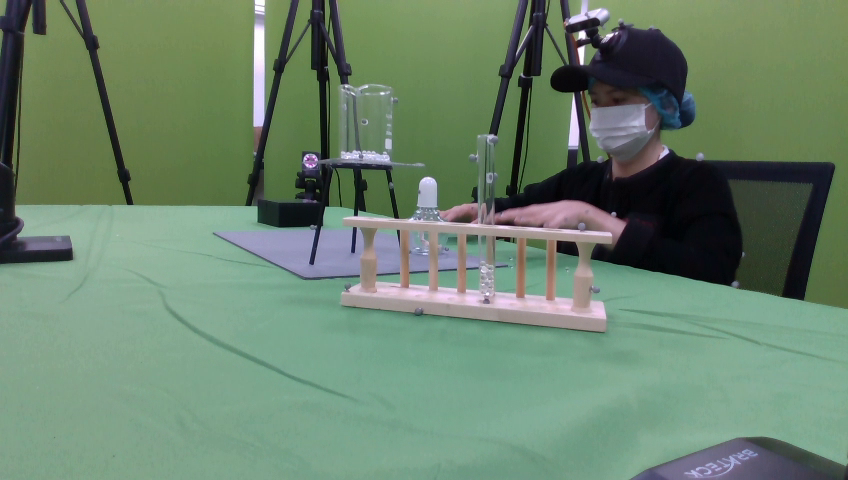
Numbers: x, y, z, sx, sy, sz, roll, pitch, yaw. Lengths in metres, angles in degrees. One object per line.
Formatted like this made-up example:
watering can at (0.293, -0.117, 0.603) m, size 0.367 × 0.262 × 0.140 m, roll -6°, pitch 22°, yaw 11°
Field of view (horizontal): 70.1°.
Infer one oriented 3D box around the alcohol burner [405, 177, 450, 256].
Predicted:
alcohol burner at (0.004, -0.036, 0.917) m, size 0.078 × 0.119 × 0.078 m, roll 3°, pitch 6°, yaw 0°

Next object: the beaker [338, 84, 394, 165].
beaker at (-0.077, -0.149, 0.792) m, size 0.074 × 0.100 × 0.084 m, roll 2°, pitch 6°, yaw 9°

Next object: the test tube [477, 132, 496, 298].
test tube at (0.056, -0.020, 0.540) m, size 0.017 × 0.150 × 0.017 m, roll -1°, pitch 11°, yaw 1°

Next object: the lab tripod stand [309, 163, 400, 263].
lab tripod stand at (-0.091, -0.037, 0.813) m, size 0.148 × 0.131 × 0.148 m, roll 1°, pitch 6°, yaw 0°

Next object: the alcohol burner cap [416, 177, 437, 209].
alcohol burner cap at (0.005, -0.072, 0.914) m, size 0.034 × 0.048 × 0.034 m, roll 4°, pitch 10°, yaw 0°

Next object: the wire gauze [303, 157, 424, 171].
wire gauze at (-0.082, -0.101, 0.799) m, size 0.126 × 0.011 × 0.121 m, roll 1°, pitch 7°, yaw -30°

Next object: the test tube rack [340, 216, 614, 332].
test tube rack at (0.048, 0.026, 0.568) m, size 0.242 × 0.085 × 0.067 m, roll 4°, pitch 7°, yaw 13°
